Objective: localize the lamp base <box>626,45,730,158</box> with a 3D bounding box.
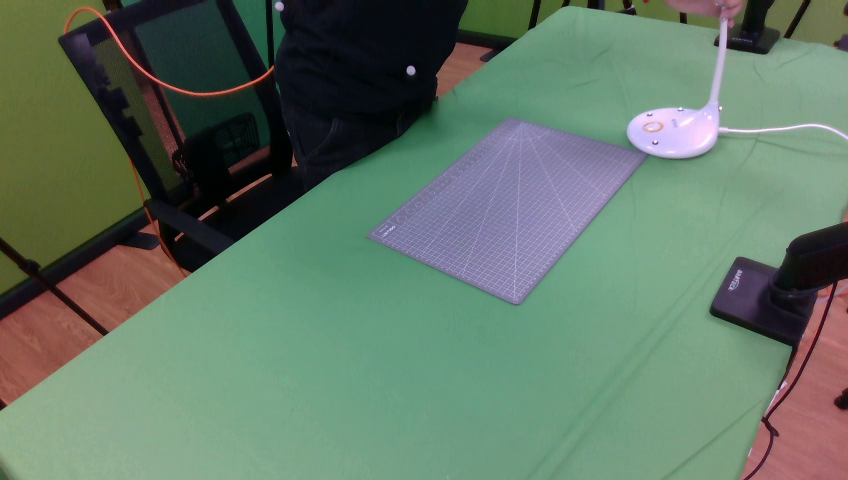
[{"bbox_3d":[0.468,-0.262,1.086,0.179,0.181,0.159,-4,41,0],"label":"lamp base"}]
